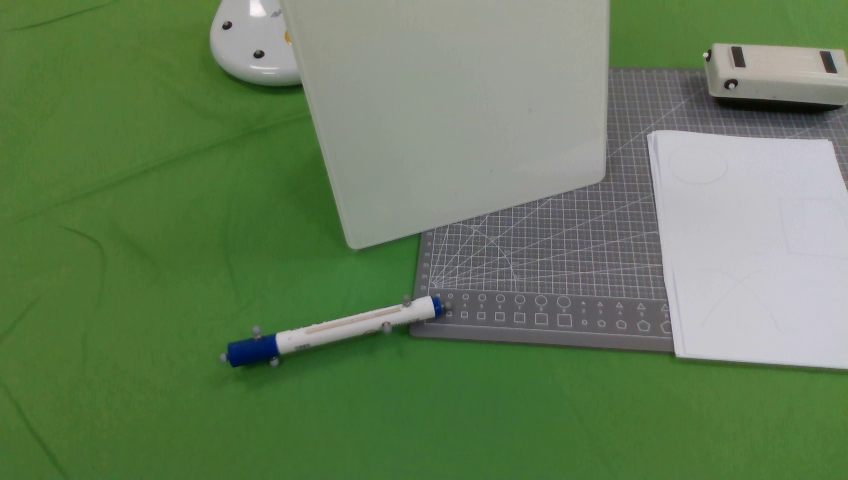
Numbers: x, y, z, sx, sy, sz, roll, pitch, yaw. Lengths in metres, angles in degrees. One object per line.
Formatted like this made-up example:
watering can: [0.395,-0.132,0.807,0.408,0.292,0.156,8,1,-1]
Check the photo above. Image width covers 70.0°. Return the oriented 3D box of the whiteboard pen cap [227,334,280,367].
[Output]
whiteboard pen cap: [-0.114,0.074,0.408,0.033,0.018,0.018,-13,53,-10]

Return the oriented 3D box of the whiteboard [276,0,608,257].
whiteboard: [0.006,-0.175,0.448,0.217,0.308,0.142,-15,35,-7]

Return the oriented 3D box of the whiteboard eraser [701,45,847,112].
whiteboard eraser: [0.305,-0.141,0.531,0.112,0.042,0.055,6,55,8]

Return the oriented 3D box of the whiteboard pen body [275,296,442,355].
whiteboard pen body: [-0.056,0.061,0.417,0.141,0.017,0.017,-13,54,-8]

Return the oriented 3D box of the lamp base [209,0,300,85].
lamp base: [-0.152,-0.267,0.567,0.160,0.182,0.177,-38,58,-22]
